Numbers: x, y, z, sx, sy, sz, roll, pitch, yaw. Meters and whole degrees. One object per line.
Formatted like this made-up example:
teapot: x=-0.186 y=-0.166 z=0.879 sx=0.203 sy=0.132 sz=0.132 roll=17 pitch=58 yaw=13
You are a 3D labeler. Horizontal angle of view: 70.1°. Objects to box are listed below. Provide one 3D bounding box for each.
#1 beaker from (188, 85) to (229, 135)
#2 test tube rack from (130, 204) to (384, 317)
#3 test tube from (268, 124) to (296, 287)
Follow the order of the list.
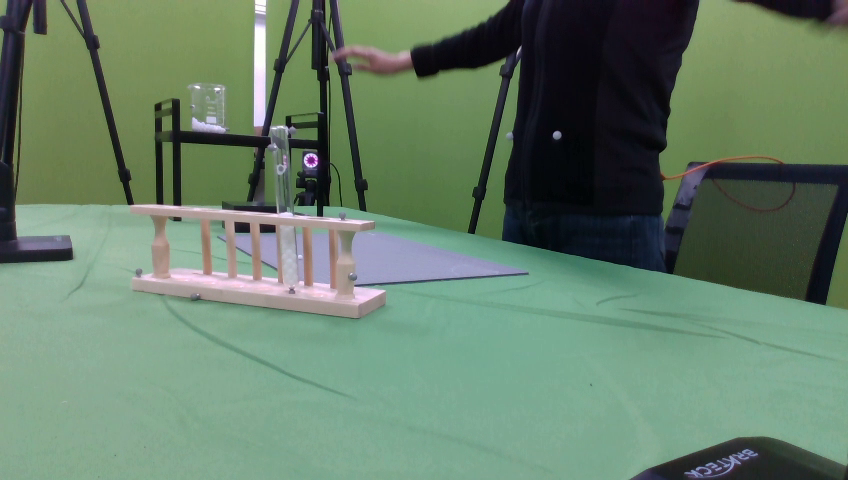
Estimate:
beaker: x=-0.457 y=-0.275 z=1.283 sx=0.084 sy=0.100 sz=0.073 roll=-5 pitch=9 yaw=-40
test tube rack: x=-0.163 y=0.013 z=0.589 sx=0.242 sy=0.085 sz=0.067 roll=5 pitch=8 yaw=17
test tube: x=-0.131 y=-0.030 z=0.557 sx=0.017 sy=0.150 sz=0.017 roll=-3 pitch=6 yaw=1
